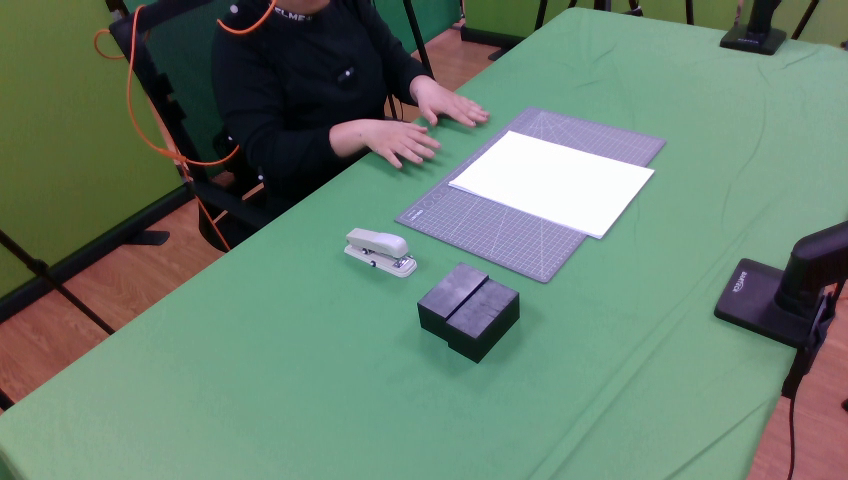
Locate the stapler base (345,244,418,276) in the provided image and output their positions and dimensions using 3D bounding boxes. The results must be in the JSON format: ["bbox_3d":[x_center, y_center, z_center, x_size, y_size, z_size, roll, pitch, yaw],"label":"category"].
[{"bbox_3d":[-0.070,0.020,0.964,0.129,0.024,0.041,19,45,31],"label":"stapler base"}]

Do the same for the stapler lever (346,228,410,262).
[{"bbox_3d":[-0.074,0.001,0.949,0.117,0.040,0.027,20,46,30],"label":"stapler lever"}]
